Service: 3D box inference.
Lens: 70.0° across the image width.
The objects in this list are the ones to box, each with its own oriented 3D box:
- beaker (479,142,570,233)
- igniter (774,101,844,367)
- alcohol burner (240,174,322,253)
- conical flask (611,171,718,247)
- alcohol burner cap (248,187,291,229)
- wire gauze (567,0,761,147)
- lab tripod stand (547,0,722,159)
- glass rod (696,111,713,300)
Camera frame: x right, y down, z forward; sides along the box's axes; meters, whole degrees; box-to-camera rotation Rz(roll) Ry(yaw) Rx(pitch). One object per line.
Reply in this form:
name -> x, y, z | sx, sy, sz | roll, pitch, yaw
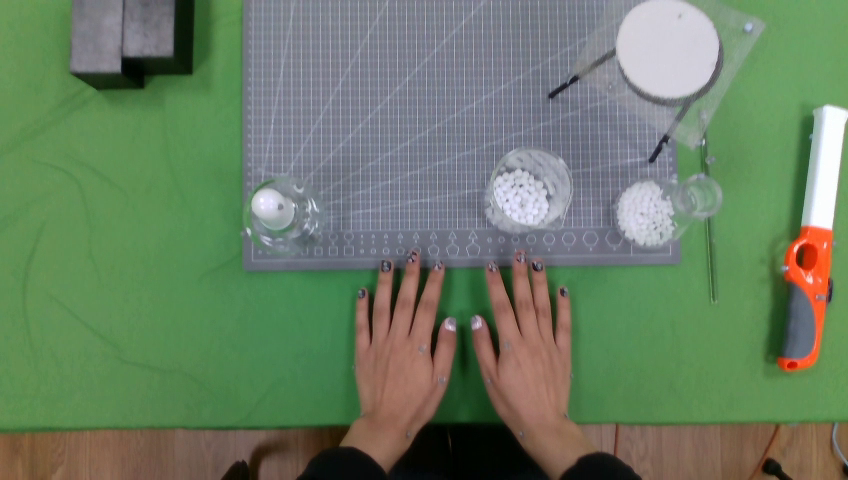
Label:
beaker -> 0.093, -0.043, 0.580 | 0.074, 0.100, 0.084 | -37, 88, -3
igniter -> 0.396, -0.005, 0.622 | 0.057, 0.025, 0.276 | 11, 86, -11
alcohol burner -> -0.138, -0.026, 0.567 | 0.078, 0.119, 0.078 | 0, 87, 0
conical flask -> 0.229, -0.035, 0.570 | 0.075, 0.122, 0.075 | 0, 86, -1
alcohol burner cap -> -0.137, -0.030, 0.531 | 0.034, 0.048, 0.033 | 1, 80, -4
wire gauze -> 0.199, -0.160, 0.505 | 0.125, 0.011, 0.121 | 31, 88, 2
lab tripod stand -> 0.201, -0.154, 0.571 | 0.148, 0.131, 0.148 | 0, 88, 1
glass rod -> 0.292, -0.037, 0.632 | 0.008, 0.008, 0.199 | -2, 86, -1
